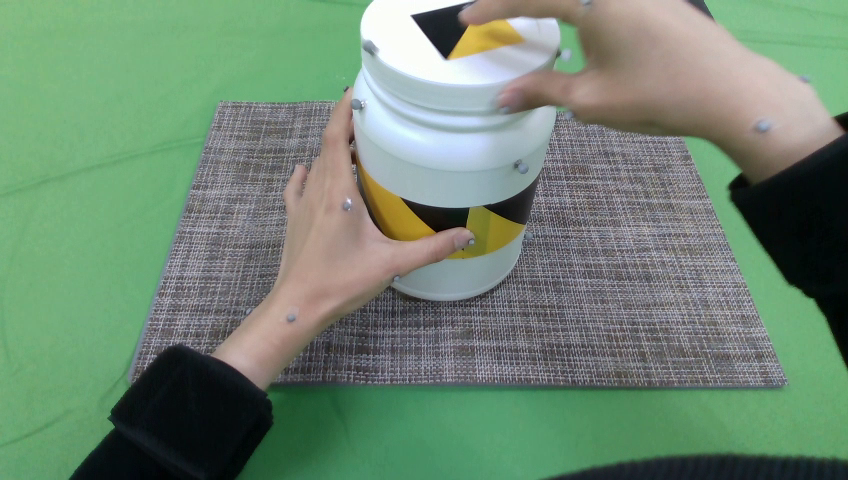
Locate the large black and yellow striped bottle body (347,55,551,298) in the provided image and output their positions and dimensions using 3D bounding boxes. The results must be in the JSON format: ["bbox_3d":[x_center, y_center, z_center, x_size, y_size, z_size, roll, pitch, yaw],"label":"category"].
[{"bbox_3d":[0.014,-0.061,0.420,0.131,0.185,0.129,2,50,-2],"label":"large black and yellow striped bottle body"}]

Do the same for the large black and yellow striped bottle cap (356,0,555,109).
[{"bbox_3d":[0.018,-0.119,0.352,0.115,0.019,0.114,2,51,-2],"label":"large black and yellow striped bottle cap"}]
